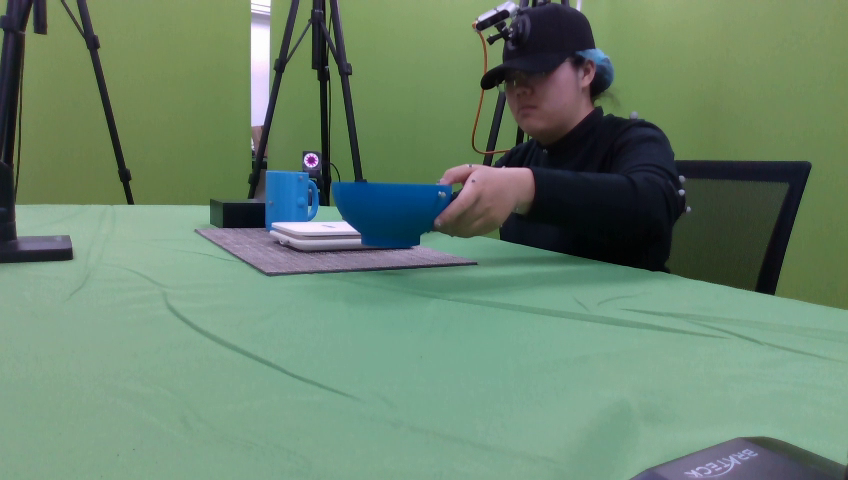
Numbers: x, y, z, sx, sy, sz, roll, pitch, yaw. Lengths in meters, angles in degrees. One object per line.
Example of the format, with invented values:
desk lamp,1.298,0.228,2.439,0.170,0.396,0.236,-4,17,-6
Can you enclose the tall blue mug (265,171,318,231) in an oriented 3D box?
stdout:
tall blue mug,-0.248,-0.073,1.121,0.078,0.108,0.107,3,7,8

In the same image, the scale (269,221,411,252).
scale,-0.130,-0.008,0.959,0.202,0.031,0.148,-1,9,-32

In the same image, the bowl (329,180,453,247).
bowl,-0.040,-0.033,0.746,0.151,0.077,0.151,2,5,0
